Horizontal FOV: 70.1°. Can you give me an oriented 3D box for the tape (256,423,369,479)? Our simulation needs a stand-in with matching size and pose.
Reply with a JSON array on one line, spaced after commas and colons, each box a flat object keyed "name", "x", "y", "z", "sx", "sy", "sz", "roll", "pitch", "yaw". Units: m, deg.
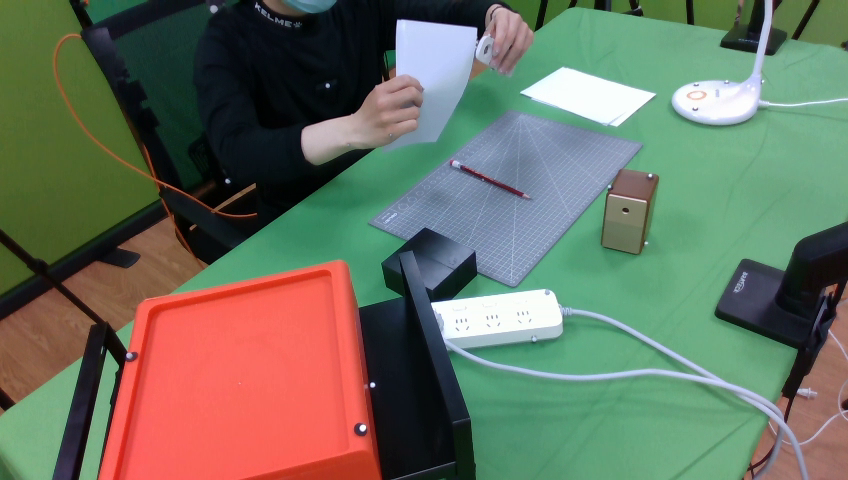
[{"name": "tape", "x": -0.121, "y": 0.263, "z": 0.660, "sx": 0.117, "sy": 0.053, "sz": 0.116, "roll": -4, "pitch": 40, "yaw": 4}]

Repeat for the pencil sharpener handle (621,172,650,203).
[{"name": "pencil sharpener handle", "x": 0.328, "y": -0.087, "z": 0.940, "sx": 0.036, "sy": 0.068, "sz": 0.030, "roll": 30, "pitch": 49, "yaw": 7}]

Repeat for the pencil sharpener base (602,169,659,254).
[{"name": "pencil sharpener base", "x": 0.312, "y": -0.044, "z": 0.913, "sx": 0.061, "sy": 0.107, "sz": 0.077, "roll": 14, "pitch": 45, "yaw": 24}]

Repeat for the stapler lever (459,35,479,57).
[{"name": "stapler lever", "x": 0.102, "y": -0.324, "z": 1.044, "sx": 0.040, "sy": 0.027, "sz": 0.119, "roll": 32, "pitch": 17, "yaw": 29}]

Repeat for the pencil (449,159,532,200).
[{"name": "pencil", "x": 0.117, "y": -0.109, "z": 1.091, "sx": 0.192, "sy": 0.012, "sz": 0.012, "roll": 31, "pitch": 53, "yaw": 34}]

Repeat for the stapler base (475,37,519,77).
[{"name": "stapler base", "x": 0.119, "y": -0.314, "z": 1.031, "sx": 0.024, "sy": 0.041, "sz": 0.131, "roll": 33, "pitch": 17, "yaw": 30}]

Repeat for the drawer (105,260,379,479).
[{"name": "drawer", "x": -0.150, "y": 0.127, "z": 0.525, "sx": 0.195, "sy": 0.073, "sz": 0.210, "roll": -11, "pitch": 41, "yaw": -5}]

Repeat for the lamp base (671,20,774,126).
[{"name": "lamp base", "x": 0.581, "y": -0.332, "z": 1.154, "sx": 0.179, "sy": 0.181, "sz": 0.160, "roll": 2, "pitch": 41, "yaw": 7}]

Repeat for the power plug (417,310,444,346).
[{"name": "power plug", "x": 0.006, "y": 0.122, "z": 0.785, "sx": 0.035, "sy": 0.053, "sz": 0.072, "roll": -1, "pitch": 40, "yaw": 8}]

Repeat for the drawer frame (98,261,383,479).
[{"name": "drawer frame", "x": -0.149, "y": 0.129, "z": 0.520, "sx": 0.202, "sy": 0.083, "sz": 0.212, "roll": -12, "pitch": 41, "yaw": -6}]

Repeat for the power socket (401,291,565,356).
[{"name": "power socket", "x": 0.080, "y": 0.112, "z": 0.822, "sx": 0.227, "sy": 0.033, "sz": 0.072, "roll": -6, "pitch": 41, "yaw": 0}]
